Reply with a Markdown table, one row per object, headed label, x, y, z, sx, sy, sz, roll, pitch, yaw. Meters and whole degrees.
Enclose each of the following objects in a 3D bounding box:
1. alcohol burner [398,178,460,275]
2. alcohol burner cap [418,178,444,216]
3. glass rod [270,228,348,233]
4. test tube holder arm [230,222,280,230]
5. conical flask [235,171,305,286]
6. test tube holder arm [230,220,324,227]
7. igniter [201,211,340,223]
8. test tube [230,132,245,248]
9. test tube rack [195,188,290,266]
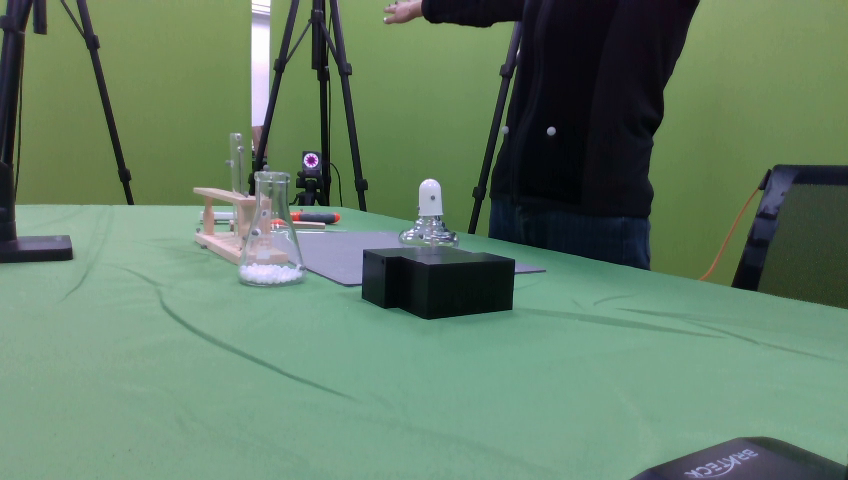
| label | x | y | z | sx | sy | sz | roll | pitch | yaw |
| --- | --- | --- | --- | --- | --- | --- | --- | --- | --- |
| alcohol burner | 0.007 | -0.017 | 0.751 | 0.078 | 0.119 | 0.078 | 3 | 9 | 0 |
| alcohol burner cap | 0.007 | -0.053 | 0.745 | 0.034 | 0.048 | 0.034 | -3 | 6 | 1 |
| glass rod | -0.234 | -0.017 | 1.105 | 0.201 | 0.008 | 0.008 | 1 | 7 | -26 |
| test tube holder arm | -0.312 | -0.025 | 1.118 | 0.088 | 0.015 | 0.010 | -1 | 44 | -30 |
| conical flask | -0.168 | -0.014 | 0.663 | 0.075 | 0.122 | 0.075 | 2 | 7 | 0 |
| test tube holder arm | -0.275 | -0.030 | 1.145 | 0.179 | 0.015 | 0.013 | -2 | 45 | -31 |
| igniter | -0.311 | -0.047 | 1.243 | 0.278 | 0.025 | 0.057 | -1 | -2 | -24 |
| test tube | -0.242 | -0.065 | 0.789 | 0.017 | 0.150 | 0.017 | -1 | 7 | 0 |
| test tube rack | -0.266 | -0.025 | 0.864 | 0.067 | 0.085 | 0.241 | -2 | 9 | -33 |
